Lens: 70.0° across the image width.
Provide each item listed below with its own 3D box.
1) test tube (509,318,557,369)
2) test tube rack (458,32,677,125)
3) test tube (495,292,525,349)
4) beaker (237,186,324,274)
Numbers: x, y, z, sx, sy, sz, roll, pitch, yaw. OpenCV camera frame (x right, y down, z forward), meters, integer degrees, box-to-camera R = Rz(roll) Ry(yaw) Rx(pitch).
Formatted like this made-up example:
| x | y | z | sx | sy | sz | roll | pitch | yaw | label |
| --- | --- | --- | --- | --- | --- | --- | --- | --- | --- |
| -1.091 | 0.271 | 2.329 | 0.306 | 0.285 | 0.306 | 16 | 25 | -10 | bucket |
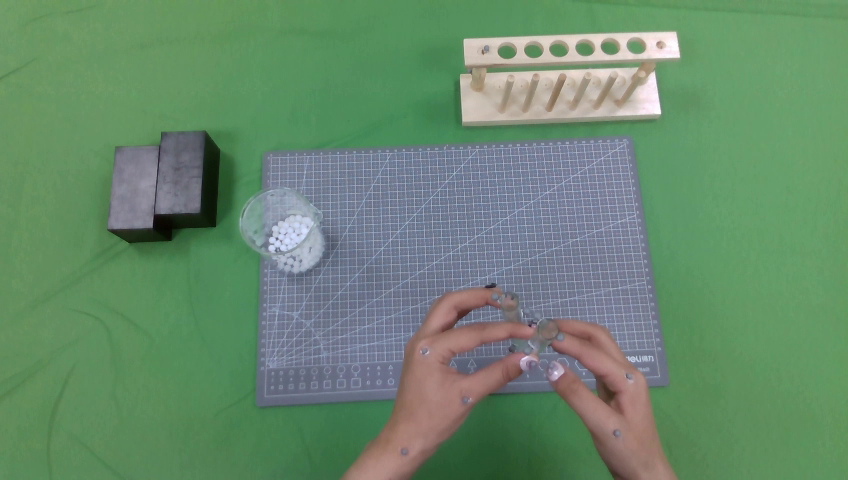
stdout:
| x | y | z | sx | sy | sz | roll | pitch | yaw | label |
| --- | --- | --- | --- | --- | --- | --- | --- | --- | --- |
| 0.083 | 0.085 | 0.479 | 0.017 | 0.151 | 0.017 | 0 | 70 | 0 | test tube |
| 0.164 | -0.189 | 0.719 | 0.242 | 0.085 | 0.066 | -2 | 74 | -1 | test tube rack |
| 0.075 | 0.071 | 0.511 | 0.017 | 0.152 | 0.017 | -4 | 68 | 10 | test tube |
| -0.147 | -0.007 | 0.657 | 0.084 | 0.101 | 0.073 | -10 | 75 | -3 | beaker |
